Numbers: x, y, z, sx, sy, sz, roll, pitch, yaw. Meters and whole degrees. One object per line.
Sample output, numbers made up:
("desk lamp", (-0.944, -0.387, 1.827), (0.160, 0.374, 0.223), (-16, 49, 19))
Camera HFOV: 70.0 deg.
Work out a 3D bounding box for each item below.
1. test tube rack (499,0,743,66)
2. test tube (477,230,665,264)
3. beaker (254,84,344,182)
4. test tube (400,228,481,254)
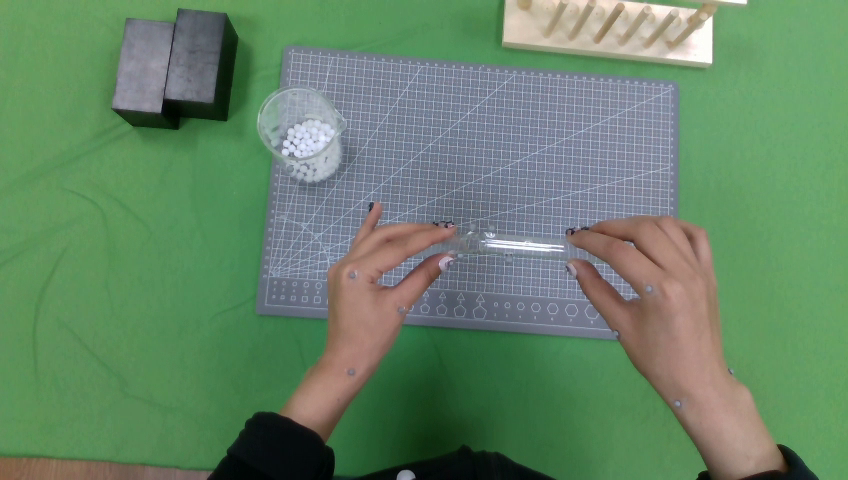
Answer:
("test tube rack", (0.211, -0.253, 0.666), (0.242, 0.085, 0.066), (5, 81, -2))
("test tube", (0.113, 0.006, 0.455), (0.151, 0.017, 0.017), (5, 81, -13))
("beaker", (-0.120, -0.104, 0.614), (0.084, 0.100, 0.073), (-3, 82, -4))
("test tube", (0.009, 0.003, 0.511), (0.017, 0.150, 0.017), (1, 87, -21))
